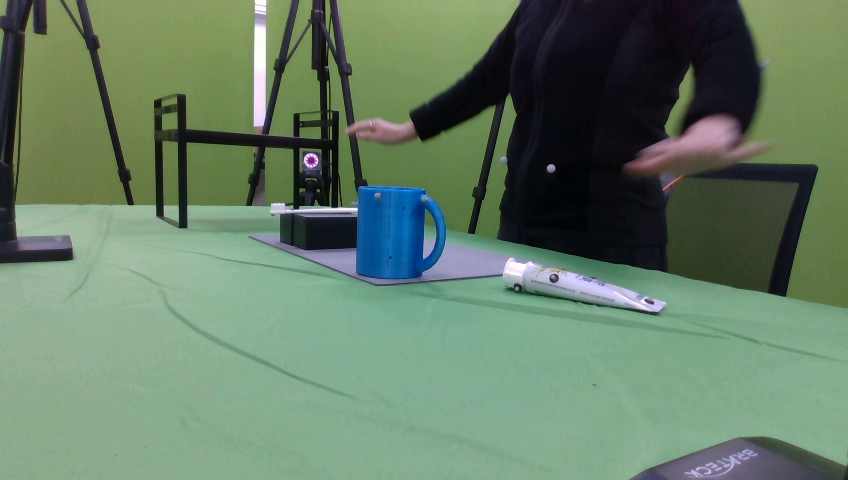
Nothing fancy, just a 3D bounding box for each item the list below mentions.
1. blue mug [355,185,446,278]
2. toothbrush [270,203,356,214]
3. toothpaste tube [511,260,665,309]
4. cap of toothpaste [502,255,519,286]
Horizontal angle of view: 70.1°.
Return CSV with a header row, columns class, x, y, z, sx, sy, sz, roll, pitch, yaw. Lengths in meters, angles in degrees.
class,x,y,z,sx,sy,sz,roll,pitch,yaw
blue mug,-0.027,-0.011,0.723,0.116,0.106,0.083,7,8,27
toothbrush,-0.156,-0.050,0.958,0.183,0.016,0.014,-2,2,-33
toothpaste tube,0.166,0.049,0.642,0.164,0.034,0.055,10,15,28
cap of toothpaste,0.100,0.035,0.681,0.011,0.037,0.037,11,11,28
